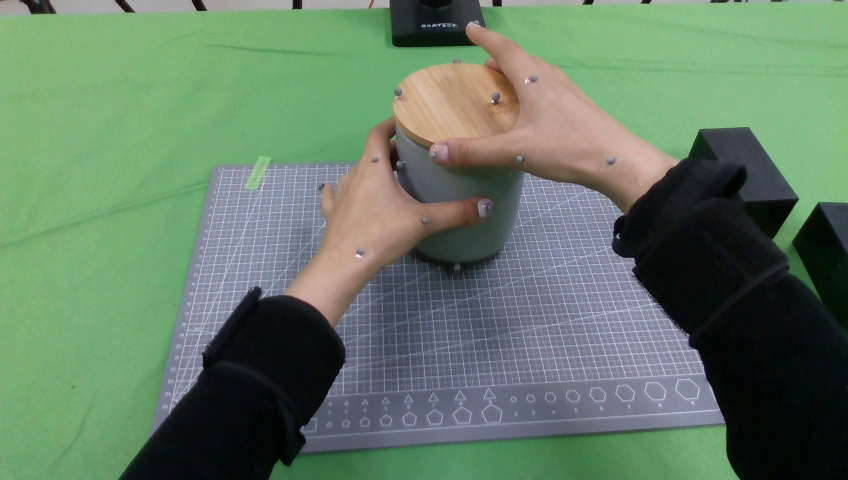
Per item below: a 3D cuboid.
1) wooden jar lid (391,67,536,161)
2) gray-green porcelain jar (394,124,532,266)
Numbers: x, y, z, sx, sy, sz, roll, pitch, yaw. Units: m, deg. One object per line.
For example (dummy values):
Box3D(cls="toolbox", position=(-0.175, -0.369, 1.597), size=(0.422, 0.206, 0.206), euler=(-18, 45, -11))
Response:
Box3D(cls="wooden jar lid", position=(0.029, -0.093, 0.455), size=(0.108, 0.021, 0.107), euler=(1, 47, -1))
Box3D(cls="gray-green porcelain jar", position=(0.028, -0.049, 0.503), size=(0.106, 0.127, 0.105), euler=(1, 48, -1))
